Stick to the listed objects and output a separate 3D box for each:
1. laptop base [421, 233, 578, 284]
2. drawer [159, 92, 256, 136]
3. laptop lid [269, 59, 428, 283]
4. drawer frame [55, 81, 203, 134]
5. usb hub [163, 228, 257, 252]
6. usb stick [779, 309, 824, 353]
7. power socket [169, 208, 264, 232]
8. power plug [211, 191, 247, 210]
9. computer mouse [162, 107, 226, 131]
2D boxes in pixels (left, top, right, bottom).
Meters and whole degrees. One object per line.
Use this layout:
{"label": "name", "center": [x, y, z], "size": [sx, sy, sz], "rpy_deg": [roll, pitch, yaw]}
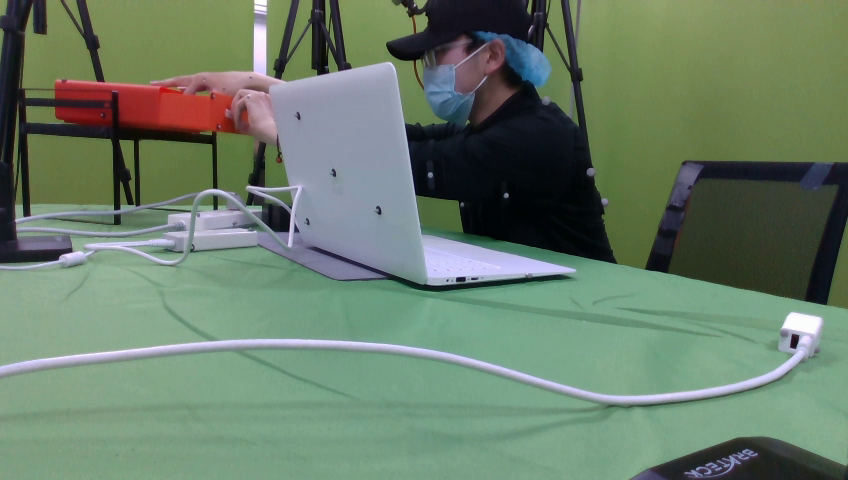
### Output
{"label": "laptop base", "center": [0.007, 0.021, 0.850], "size": [0.237, 0.023, 0.352], "rpy_deg": [1, 7, -34]}
{"label": "drawer", "center": [-0.473, -0.254, 1.207], "size": [0.211, 0.073, 0.194], "rpy_deg": [5, 8, 8]}
{"label": "laptop lid", "center": [-0.110, -0.087, 0.752], "size": [0.013, 0.241, 0.355], "rpy_deg": [-18, 19, -30]}
{"label": "drawer frame", "center": [-0.574, -0.264, 1.217], "size": [0.213, 0.082, 0.202], "rpy_deg": [4, 8, 5]}
{"label": "usb hub", "center": [-0.314, 0.000, 0.894], "size": [0.049, 0.025, 0.126], "rpy_deg": [9, 10, 41]}
{"label": "usb stick", "center": [0.311, 0.072, 0.496], "size": [0.027, 0.021, 0.059], "rpy_deg": [7, 15, 34]}
{"label": "power socket", "center": [-0.380, -0.038, 1.127], "size": [0.072, 0.032, 0.227], "rpy_deg": [4, 8, 17]}
{"label": "power plug", "center": [-0.386, -0.071, 1.205], "size": [0.072, 0.052, 0.035], "rpy_deg": [8, 11, 27]}
{"label": "computer mouse", "center": [-0.452, -0.238, 1.195], "size": [0.062, 0.041, 0.118], "rpy_deg": [7, 2, 31]}
